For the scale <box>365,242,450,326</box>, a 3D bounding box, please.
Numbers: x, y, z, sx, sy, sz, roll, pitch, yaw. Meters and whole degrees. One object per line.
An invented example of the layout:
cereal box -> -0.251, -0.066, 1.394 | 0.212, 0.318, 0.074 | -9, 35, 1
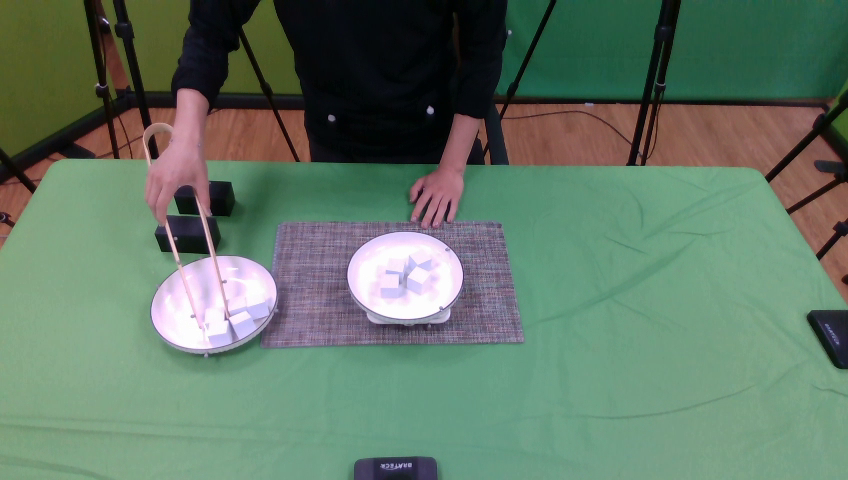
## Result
scale -> -0.032, 0.071, 1.113 | 0.149, 0.032, 0.199 | 0, 46, -4

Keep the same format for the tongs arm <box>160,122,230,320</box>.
tongs arm -> -0.400, -0.040, 1.065 | 0.028, 0.028, 0.386 | -19, 75, -12

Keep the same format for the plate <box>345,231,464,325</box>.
plate -> -0.034, 0.069, 1.069 | 0.209, 0.038, 0.208 | 2, 46, -2

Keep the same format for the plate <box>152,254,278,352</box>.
plate -> -0.357, 0.111, 1.052 | 0.208, 0.039, 0.206 | 2, 46, -2

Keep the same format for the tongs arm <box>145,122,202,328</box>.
tongs arm -> -0.427, -0.032, 1.057 | 0.051, 0.026, 0.383 | -20, 76, -16
